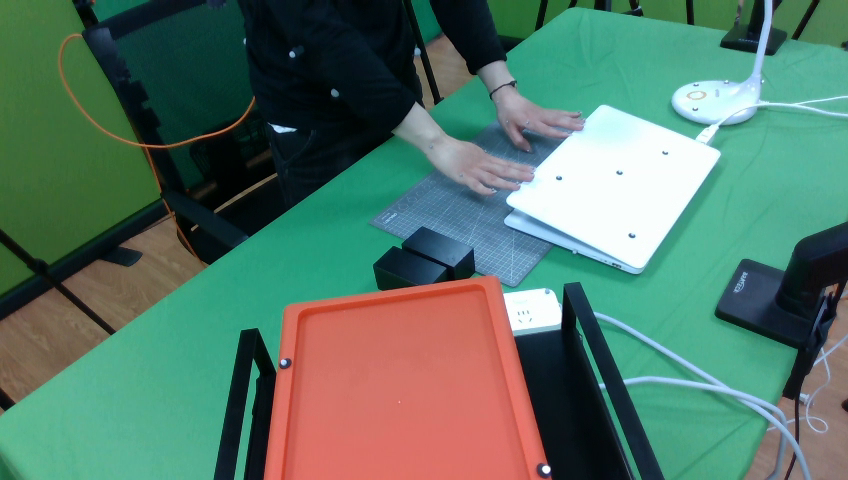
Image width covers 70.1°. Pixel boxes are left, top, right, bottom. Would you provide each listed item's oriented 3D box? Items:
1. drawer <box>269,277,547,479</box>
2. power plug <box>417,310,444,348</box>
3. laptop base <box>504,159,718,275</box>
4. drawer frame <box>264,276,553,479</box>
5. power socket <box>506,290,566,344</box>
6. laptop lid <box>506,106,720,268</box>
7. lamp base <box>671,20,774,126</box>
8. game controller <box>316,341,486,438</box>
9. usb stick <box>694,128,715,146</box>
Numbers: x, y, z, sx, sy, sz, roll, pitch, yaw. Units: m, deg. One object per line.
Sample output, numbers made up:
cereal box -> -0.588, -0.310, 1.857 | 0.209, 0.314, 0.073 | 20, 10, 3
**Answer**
drawer -> -0.018, 0.137, 0.493 | 0.195, 0.073, 0.210 | -7, 41, -1
power plug -> 0.007, 0.123, 0.784 | 0.035, 0.053, 0.072 | 0, 42, 8
laptop base -> 0.326, -0.083, 1.028 | 0.233, 0.023, 0.355 | 21, 48, 32
drawer frame -> -0.016, 0.137, 0.490 | 0.202, 0.083, 0.212 | -8, 41, -1
power socket -> 0.081, 0.112, 0.822 | 0.227, 0.033, 0.072 | -7, 41, 0
laptop lid -> 0.323, -0.108, 1.006 | 0.240, 0.013, 0.358 | 31, 52, 25
lamp base -> 0.581, -0.332, 1.154 | 0.179, 0.181, 0.160 | 2, 41, 7
game controller -> -0.021, 0.120, 0.534 | 0.155, 0.052, 0.096 | -3, 36, 0
usb stick -> 0.501, -0.176, 1.091 | 0.021, 0.027, 0.059 | 29, 55, 29
